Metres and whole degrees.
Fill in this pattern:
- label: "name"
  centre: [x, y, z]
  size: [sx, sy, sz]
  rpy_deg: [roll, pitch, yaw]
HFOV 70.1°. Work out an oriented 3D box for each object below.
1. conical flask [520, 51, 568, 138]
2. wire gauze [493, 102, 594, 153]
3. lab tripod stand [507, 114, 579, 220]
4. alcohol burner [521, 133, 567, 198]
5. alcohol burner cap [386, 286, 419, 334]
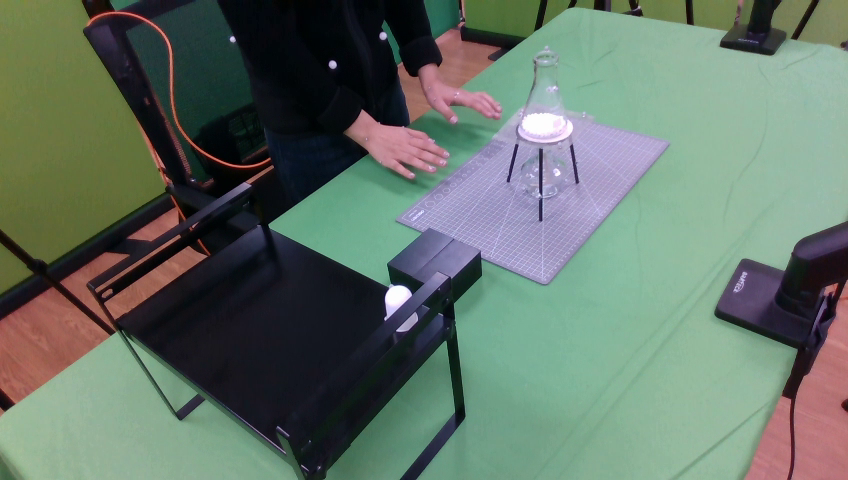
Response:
- label: "conical flask"
  centre: [0.185, -0.223, 0.926]
  size: [0.075, 0.122, 0.075]
  rpy_deg: [-4, 41, 4]
- label: "wire gauze"
  centre: [0.191, -0.179, 0.965]
  size: [0.120, 0.011, 0.125]
  rpy_deg: [18, 49, 29]
- label: "lab tripod stand"
  centre: [0.199, -0.128, 1.005]
  size: [0.148, 0.132, 0.147]
  rpy_deg: [-3, 42, 3]
- label: "alcohol burner"
  centre: [0.204, -0.131, 1.023]
  size: [0.078, 0.119, 0.077]
  rpy_deg: [-5, 42, 5]
- label: "alcohol burner cap"
  centre: [-0.024, 0.067, 0.604]
  size: [0.034, 0.048, 0.033]
  rpy_deg: [-4, 40, 4]
